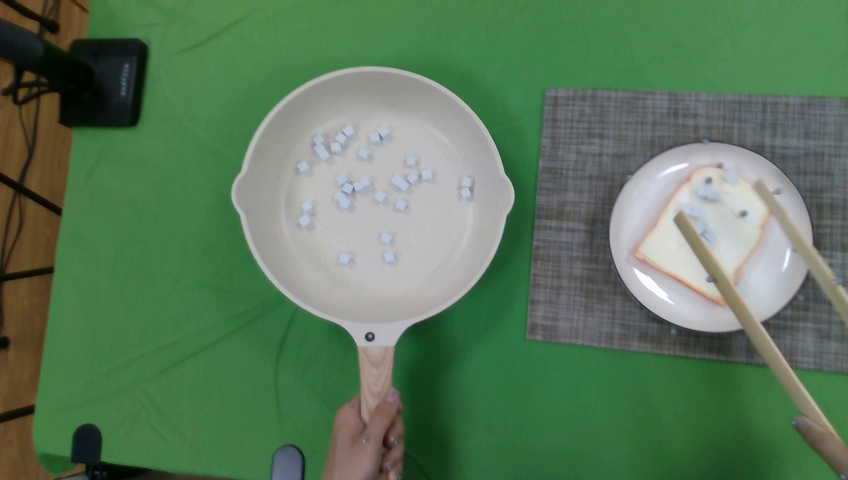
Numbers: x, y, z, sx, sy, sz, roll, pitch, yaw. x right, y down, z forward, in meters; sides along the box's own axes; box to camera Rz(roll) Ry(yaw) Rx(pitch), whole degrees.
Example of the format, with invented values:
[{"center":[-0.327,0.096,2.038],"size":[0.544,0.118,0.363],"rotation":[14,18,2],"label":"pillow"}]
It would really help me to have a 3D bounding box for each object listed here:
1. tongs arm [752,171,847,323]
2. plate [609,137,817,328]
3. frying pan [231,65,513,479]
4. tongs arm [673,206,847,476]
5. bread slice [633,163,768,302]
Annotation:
[{"center":[0.376,0.109,0.518],"size":[0.051,0.027,0.381],"rotation":[-23,69,-4],"label":"tongs arm"},{"center":[0.308,-0.008,0.662],"size":[0.207,0.039,0.207],"rotation":[-1,83,10],"label":"plate"},{"center":[-0.055,0.051,0.660],"size":[0.307,0.103,0.485],"rotation":[0,74,-3],"label":"frying pan"},{"center":[0.330,0.129,0.516],"size":[0.028,0.028,0.384],"rotation":[-25,69,-8],"label":"tongs arm"},{"center":[0.307,-0.016,0.665],"size":[0.106,0.018,0.134],"rotation":[28,90,11],"label":"bread slice"}]
